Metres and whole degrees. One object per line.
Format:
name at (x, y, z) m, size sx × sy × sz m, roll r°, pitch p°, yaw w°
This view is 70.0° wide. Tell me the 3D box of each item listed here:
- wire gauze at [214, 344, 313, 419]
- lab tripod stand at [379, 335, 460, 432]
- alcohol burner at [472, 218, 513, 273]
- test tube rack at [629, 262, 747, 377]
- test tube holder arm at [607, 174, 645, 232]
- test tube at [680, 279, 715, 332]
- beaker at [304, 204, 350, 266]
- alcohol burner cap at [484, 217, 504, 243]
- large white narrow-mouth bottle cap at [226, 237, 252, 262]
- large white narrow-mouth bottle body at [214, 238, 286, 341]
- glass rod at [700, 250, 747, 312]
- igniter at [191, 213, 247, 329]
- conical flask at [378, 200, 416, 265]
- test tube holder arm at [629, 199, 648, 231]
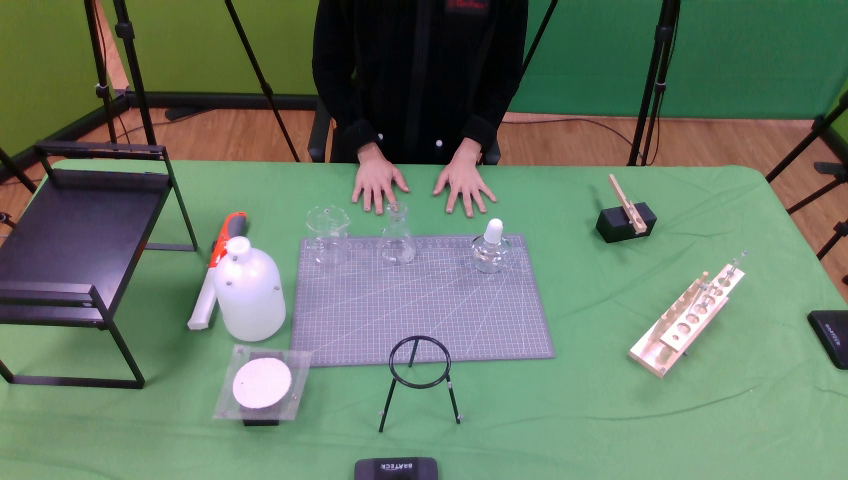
wire gauze at (-0.241, 0.213, 0.916) m, size 0.121 × 0.011 × 0.124 m, roll 5°, pitch 46°, yaw 1°
lab tripod stand at (-0.011, 0.214, 0.911) m, size 0.148 × 0.132 × 0.147 m, roll 1°, pitch 45°, yaw 0°
alcohol burner at (0.128, 0.005, 1.132) m, size 0.078 × 0.120 × 0.077 m, roll 0°, pitch 47°, yaw 0°
test tube rack at (0.464, 0.126, 1.060) m, size 0.242 × 0.085 × 0.066 m, roll -34°, pitch 56°, yaw -31°
test tube holder arm at (0.411, -0.080, 1.238) m, size 0.013 × 0.015 × 0.177 m, roll 1°, pitch 41°, yaw -13°
test tube at (0.445, 0.119, 0.997) m, size 0.017 × 0.151 × 0.017 m, roll 1°, pitch 43°, yaw -1°
beaker at (-0.178, -0.006, 1.132) m, size 0.084 × 0.101 × 0.073 m, roll 4°, pitch 46°, yaw -1°
alcohol burner cap at (0.130, -0.021, 1.107) m, size 0.034 × 0.048 × 0.033 m, roll 5°, pitch 46°, yaw -5°
large white narrow-mouth bottle cap at (-0.282, 0.014, 0.923) m, size 0.038 × 0.024 × 0.037 m, roll 2°, pitch 46°, yaw -2°
large white narrow-mouth bottle body at (-0.285, 0.073, 0.986) m, size 0.102 × 0.195 × 0.101 m, roll 2°, pitch 46°, yaw -2°
glass rod at (0.501, 0.075, 1.021) m, size 0.008 × 0.201 × 0.008 m, roll -1°, pitch 54°, yaw 1°
igniter at (-0.376, 0.047, 1.121) m, size 0.057 × 0.025 × 0.275 m, roll -4°, pitch 46°, yaw 6°
conical flask at (-0.050, -0.018, 1.136) m, size 0.075 × 0.122 × 0.075 m, roll 2°, pitch 46°, yaw -2°
test tube holder arm at (0.423, -0.050, 1.206) m, size 0.010 × 0.015 × 0.087 m, roll 1°, pitch 41°, yaw -12°
